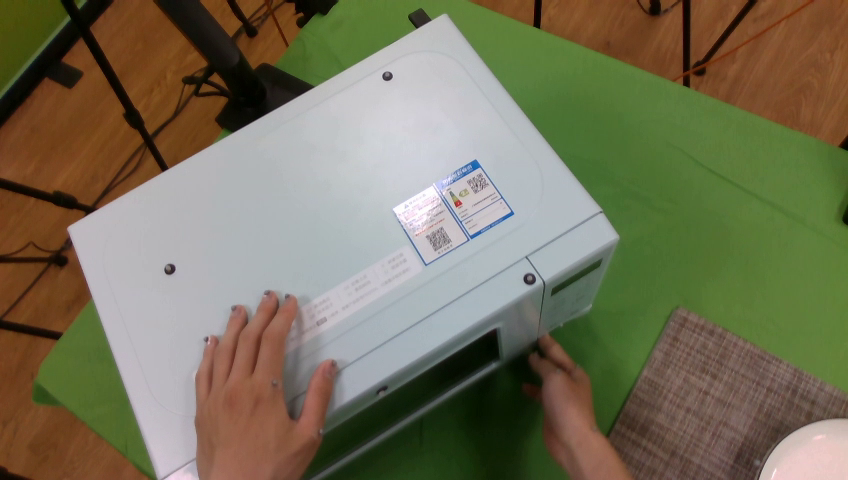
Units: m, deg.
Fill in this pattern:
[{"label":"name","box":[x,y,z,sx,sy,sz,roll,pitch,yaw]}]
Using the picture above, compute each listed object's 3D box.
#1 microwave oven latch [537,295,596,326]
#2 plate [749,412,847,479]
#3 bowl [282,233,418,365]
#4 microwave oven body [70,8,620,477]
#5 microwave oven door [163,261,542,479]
[{"label":"microwave oven latch","box":[0.163,0.076,0.720,0.079,0.030,0.030,-21,68,0]},{"label":"plate","box":[0.436,0.283,0.616,0.207,0.039,0.206,-3,69,7]},{"label":"bowl","box":[-0.076,0.076,0.690,0.151,0.077,0.150,-3,64,7]},{"label":"microwave oven body","box":[-0.077,0.021,0.671,0.442,0.262,0.323,-31,68,-4]},{"label":"microwave oven door","box":[-0.041,0.155,0.609,0.356,0.246,0.039,-31,67,-4]}]
